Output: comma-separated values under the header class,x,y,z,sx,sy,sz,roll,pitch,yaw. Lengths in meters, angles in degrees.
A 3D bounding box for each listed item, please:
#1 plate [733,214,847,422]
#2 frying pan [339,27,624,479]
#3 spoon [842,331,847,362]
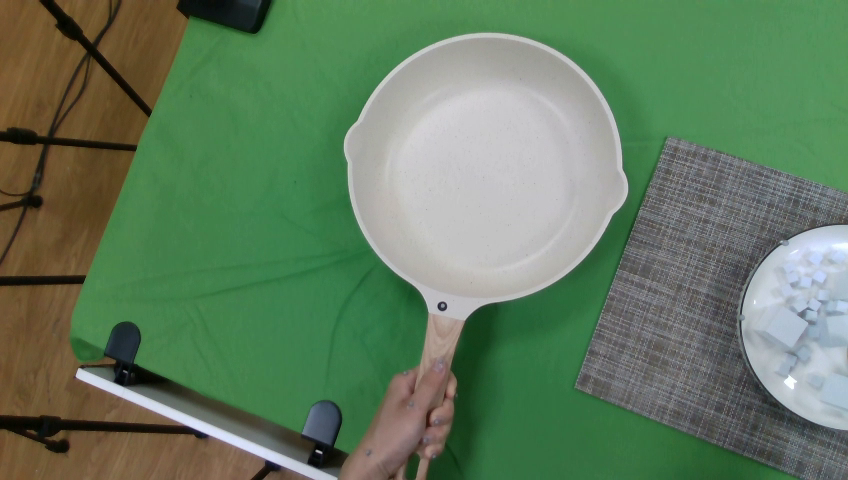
class,x,y,z,sx,sy,sz,roll,pitch,yaw
plate,0.423,0.078,0.619,0.207,0.039,0.207,-1,84,8
frying pan,0.034,0.016,0.650,0.306,0.103,0.486,13,79,10
spoon,0.387,0.103,0.497,0.021,0.194,0.041,9,97,12
